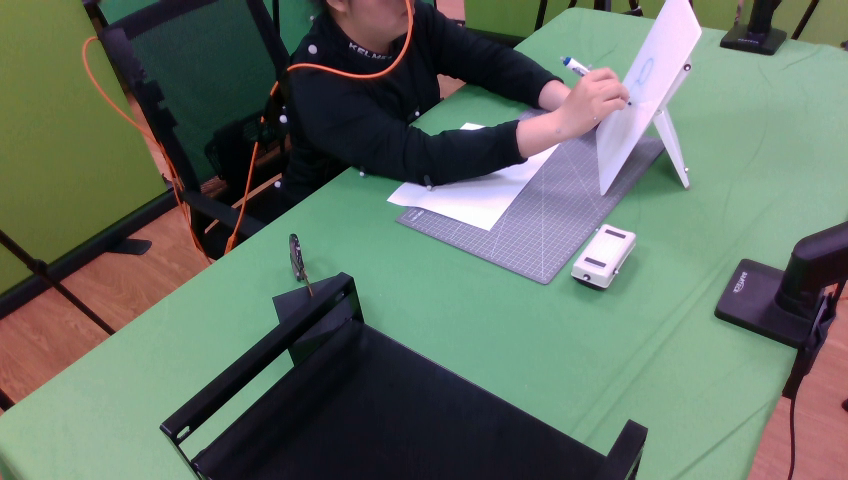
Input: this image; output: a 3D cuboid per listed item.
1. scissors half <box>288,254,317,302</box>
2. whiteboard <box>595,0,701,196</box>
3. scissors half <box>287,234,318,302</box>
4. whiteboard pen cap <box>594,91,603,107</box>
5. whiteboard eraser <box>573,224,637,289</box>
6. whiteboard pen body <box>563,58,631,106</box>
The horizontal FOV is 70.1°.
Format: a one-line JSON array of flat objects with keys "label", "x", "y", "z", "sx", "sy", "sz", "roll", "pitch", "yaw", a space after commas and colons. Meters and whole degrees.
[{"label": "scissors half", "x": -0.178, "y": 0.058, "z": 0.894, "sx": 0.013, "sy": 0.040, "sz": 0.174, "roll": -16, "pitch": 21, "yaw": -18}, {"label": "whiteboard", "x": 0.421, "y": -0.227, "z": 1.010, "sx": 0.144, "sy": 0.305, "sz": 0.216, "roll": 18, "pitch": 42, "yaw": -2}, {"label": "scissors half", "x": -0.178, "y": 0.040, "z": 0.885, "sx": 0.013, "sy": 0.040, "sz": 0.173, "roll": -11, "pitch": 37, "yaw": -21}, {"label": "whiteboard pen cap", "x": 0.364, "y": -0.293, "z": 1.262, "sx": 0.018, "sy": 0.033, "sz": 0.018, "roll": -5, "pitch": 41, "yaw": 5}, {"label": "whiteboard eraser", "x": 0.267, "y": 0.025, "z": 0.891, "sx": 0.055, "sy": 0.042, "sz": 0.113, "roll": 19, "pitch": 47, "yaw": 31}, {"label": "whiteboard pen body", "x": 0.290, "y": -0.260, "z": 1.004, "sx": 0.141, "sy": 0.017, "sz": 0.017, "roll": 28, "pitch": 40, "yaw": -15}]
